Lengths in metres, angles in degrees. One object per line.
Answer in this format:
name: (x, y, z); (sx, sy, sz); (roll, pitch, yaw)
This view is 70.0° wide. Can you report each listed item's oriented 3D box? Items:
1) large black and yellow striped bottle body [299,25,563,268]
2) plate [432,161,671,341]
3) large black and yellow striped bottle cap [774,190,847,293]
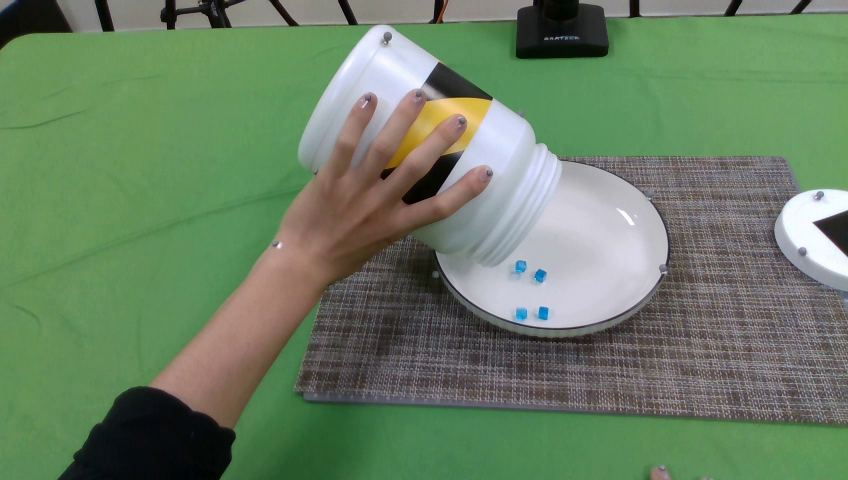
large black and yellow striped bottle body: (0.008, -0.070, 0.496); (0.184, 0.131, 0.130); (33, 52, -7)
plate: (0.112, 0.008, 0.550); (0.207, 0.039, 0.205); (-3, 47, 4)
large black and yellow striped bottle cap: (0.378, -0.001, 0.542); (0.115, 0.019, 0.114); (-1, 49, 1)
